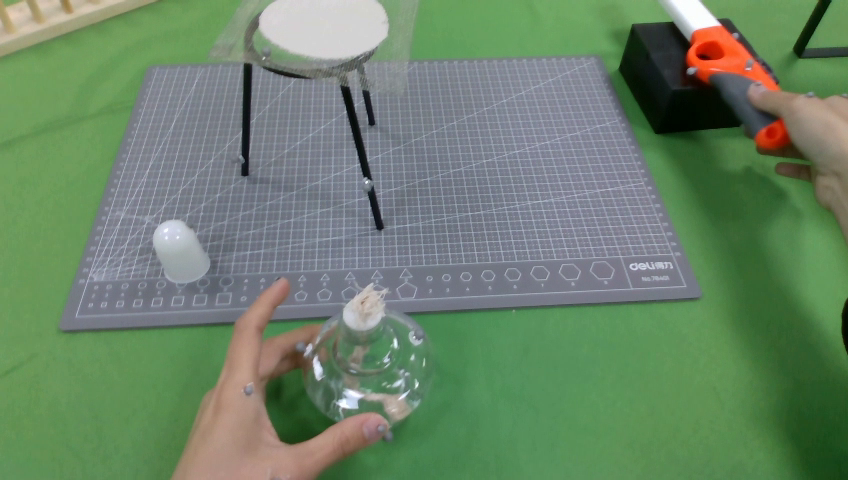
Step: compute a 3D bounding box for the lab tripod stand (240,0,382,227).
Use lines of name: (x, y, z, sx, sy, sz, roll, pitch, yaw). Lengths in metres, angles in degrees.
lab tripod stand: (-0.074, -0.097, 0.455, 0.148, 0.132, 0.147, 2, 51, -3)

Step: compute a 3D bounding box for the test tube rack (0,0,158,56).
test tube rack: (-0.369, -0.274, 0.618, 0.242, 0.086, 0.066, -33, 60, -25)

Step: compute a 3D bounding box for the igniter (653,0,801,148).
igniter: (0.253, -0.176, 0.540, 0.057, 0.025, 0.273, -11, 50, 1)

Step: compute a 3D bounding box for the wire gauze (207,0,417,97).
wire gauze: (-0.066, -0.145, 0.407, 0.125, 0.011, 0.120, 8, 51, 2)

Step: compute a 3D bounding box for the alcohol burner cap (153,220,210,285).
alcohol burner cap: (-0.173, 0.006, 0.427, 0.034, 0.048, 0.033, 2, 51, -2)

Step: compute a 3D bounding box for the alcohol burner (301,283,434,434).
alcohol burner: (-0.033, 0.063, 0.345, 0.078, 0.120, 0.077, 0, 52, 1)
